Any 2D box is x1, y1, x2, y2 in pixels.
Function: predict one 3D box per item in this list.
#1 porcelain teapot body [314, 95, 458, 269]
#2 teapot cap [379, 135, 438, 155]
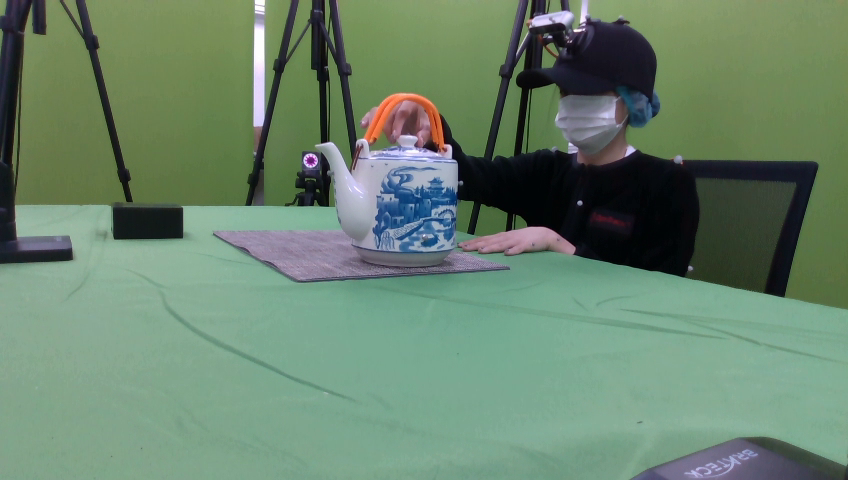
[{"bbox_3d":[-0.049,-0.079,0.800,0.206,0.225,0.144,-3,9,-37],"label":"porcelain teapot body"},{"bbox_3d":[-0.023,-0.119,0.812,0.085,0.044,0.085,2,9,0],"label":"teapot cap"}]
